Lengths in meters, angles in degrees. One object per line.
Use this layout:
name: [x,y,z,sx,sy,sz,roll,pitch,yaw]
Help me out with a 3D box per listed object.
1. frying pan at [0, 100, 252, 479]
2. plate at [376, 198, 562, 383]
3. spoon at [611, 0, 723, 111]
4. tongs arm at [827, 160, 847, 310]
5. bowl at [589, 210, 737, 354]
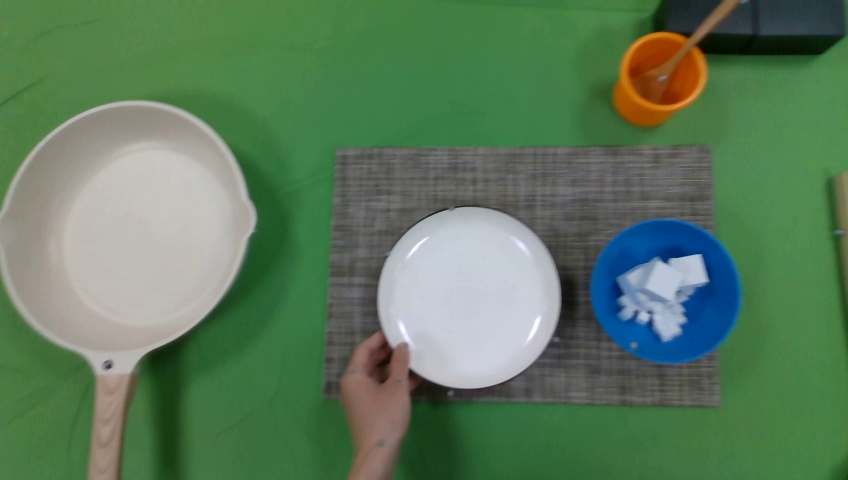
frying pan: [-0.341,0.085,0.683,0.307,0.103,0.485,-2,74,4]
plate: [0.051,0.057,0.693,0.207,0.039,0.207,-1,82,4]
spoon: [0.279,-0.219,0.665,0.041,0.194,0.021,50,43,12]
tongs arm: [0.492,0.100,0.668,0.028,0.028,0.386,-6,82,0]
bowl: [0.249,0.048,0.661,0.151,0.077,0.151,0,82,3]
